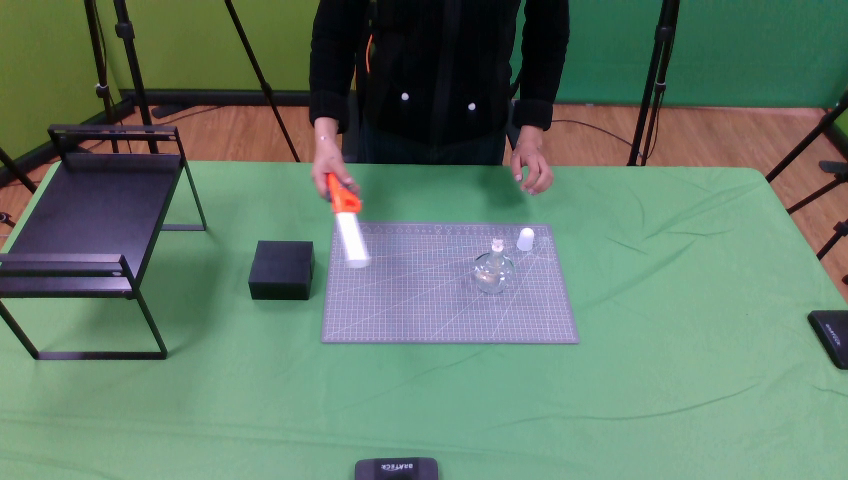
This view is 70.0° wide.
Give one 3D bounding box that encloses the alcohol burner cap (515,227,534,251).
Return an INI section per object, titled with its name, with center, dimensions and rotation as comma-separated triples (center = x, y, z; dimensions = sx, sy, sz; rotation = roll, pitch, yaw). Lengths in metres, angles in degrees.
[alcohol burner cap]
center = 0.202, -0.005, 1.201
dimensions = 0.034, 0.048, 0.033
rotation = 3, 46, -3

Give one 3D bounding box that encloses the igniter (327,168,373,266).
[igniter]
center = -0.130, -0.049, 1.037
dimensions = 0.057, 0.025, 0.274
rotation = 2, 36, -20

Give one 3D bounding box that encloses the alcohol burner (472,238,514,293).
[alcohol burner]
center = 0.128, 0.041, 1.102
dimensions = 0.078, 0.120, 0.077
rotation = 1, 47, -1
